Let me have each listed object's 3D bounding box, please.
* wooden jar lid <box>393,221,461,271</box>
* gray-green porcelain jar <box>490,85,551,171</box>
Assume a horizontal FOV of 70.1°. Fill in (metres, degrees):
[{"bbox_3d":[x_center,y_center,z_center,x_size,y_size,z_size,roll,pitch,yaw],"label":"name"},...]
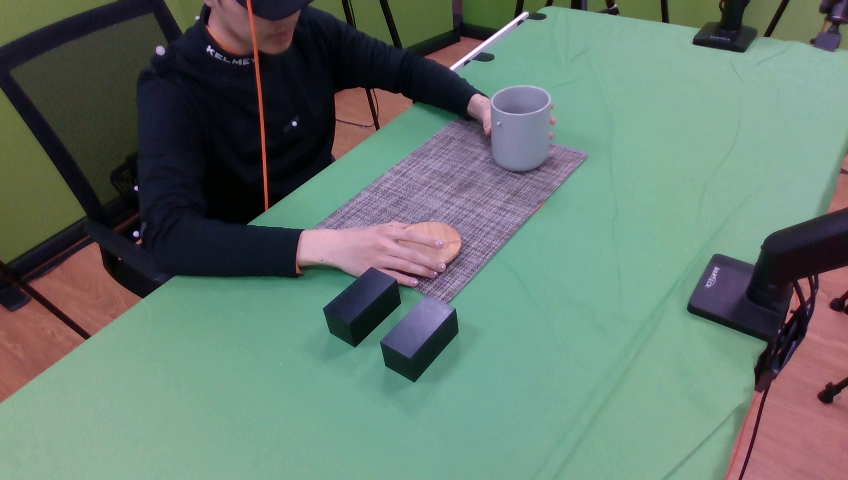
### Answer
[{"bbox_3d":[0.005,0.011,0.952,0.108,0.021,0.108,-4,40,4],"label":"wooden jar lid"},{"bbox_3d":[0.174,-0.197,1.087,0.106,0.127,0.105,-4,41,4],"label":"gray-green porcelain jar"}]
